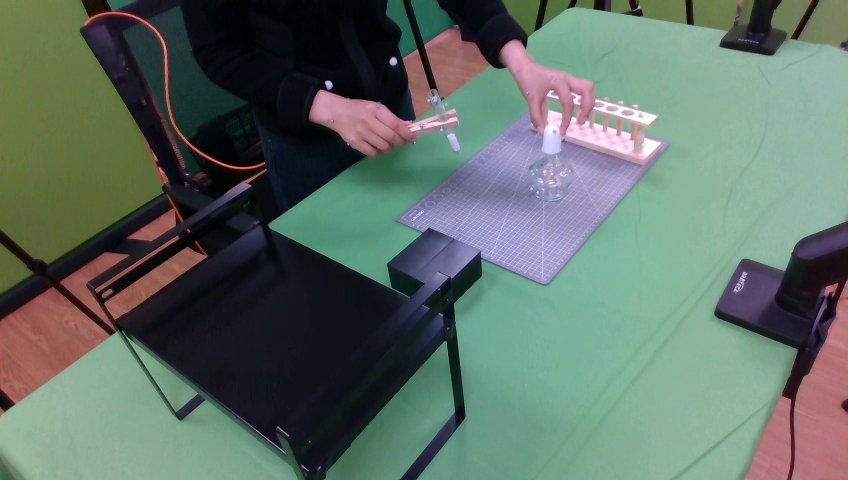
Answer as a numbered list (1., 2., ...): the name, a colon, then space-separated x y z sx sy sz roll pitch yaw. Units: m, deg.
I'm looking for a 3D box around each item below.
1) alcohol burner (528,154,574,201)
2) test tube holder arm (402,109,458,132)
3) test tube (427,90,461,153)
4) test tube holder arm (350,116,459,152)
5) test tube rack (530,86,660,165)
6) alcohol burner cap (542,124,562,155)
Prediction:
1. alcohol burner: 0.214 -0.126 1.016 0.078 0.119 0.077 -5 39 5
2. test tube holder arm: 0.009 -0.182 0.945 0.088 0.015 0.010 -20 54 7
3. test tube: 0.034 -0.182 0.945 0.017 0.151 0.017 -8 62 15
4. test tube holder arm: -0.033 -0.166 0.950 0.178 0.015 0.013 -14 55 12
5. test tube rack: 0.320 -0.226 1.140 0.240 0.085 0.067 26 51 34
6. alcohol burner cap: 0.210 -0.166 0.982 0.034 0.048 0.033 -3 40 3
